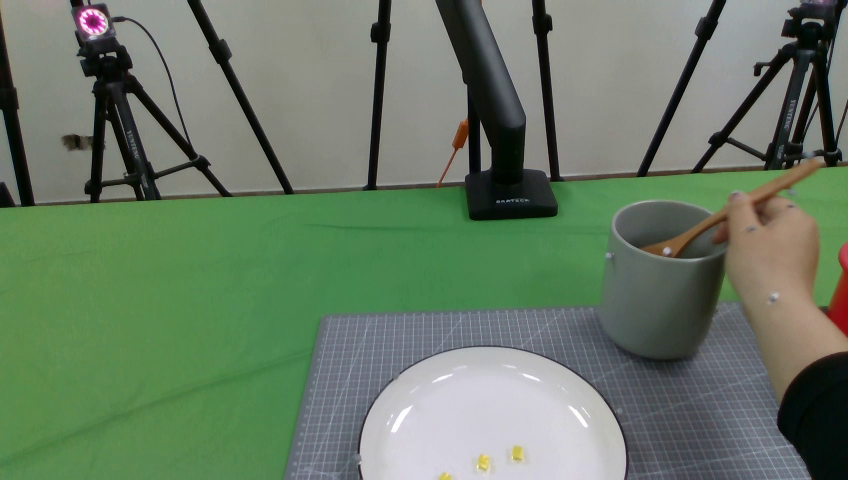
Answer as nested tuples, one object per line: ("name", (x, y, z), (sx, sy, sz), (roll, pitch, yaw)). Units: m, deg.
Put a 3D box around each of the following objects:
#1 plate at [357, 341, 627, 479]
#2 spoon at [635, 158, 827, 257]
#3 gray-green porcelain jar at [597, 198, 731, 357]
("plate", (0.052, 0.165, 0.485), (0.207, 0.039, 0.205), (-2, 34, 2))
("spoon", (0.250, -0.014, 0.528), (0.022, 0.194, 0.041), (33, 37, -29))
("gray-green porcelain jar", (0.223, 0.039, 0.579), (0.106, 0.127, 0.105), (-2, 34, 2))
